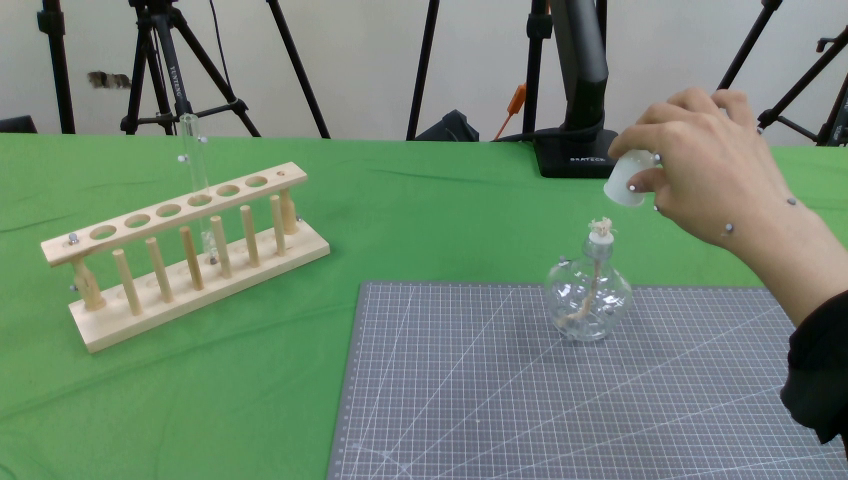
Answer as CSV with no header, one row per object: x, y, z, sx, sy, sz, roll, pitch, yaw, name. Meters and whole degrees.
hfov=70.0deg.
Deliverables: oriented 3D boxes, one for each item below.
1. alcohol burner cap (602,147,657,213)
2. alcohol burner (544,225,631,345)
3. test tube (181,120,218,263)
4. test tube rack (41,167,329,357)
0.159,-0.048,0.462,0.034,0.048,0.033,8,39,-6,alcohol burner cap
0.147,0.035,0.536,0.078,0.120,0.077,1,38,0,alcohol burner
-0.214,-0.042,0.582,0.017,0.151,0.017,3,31,-1,test tube
-0.218,0.013,0.591,0.243,0.086,0.066,-24,42,-30,test tube rack
